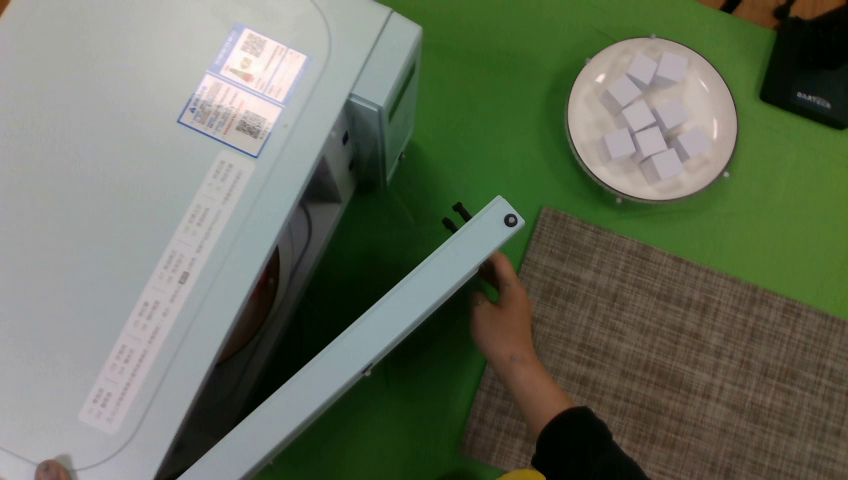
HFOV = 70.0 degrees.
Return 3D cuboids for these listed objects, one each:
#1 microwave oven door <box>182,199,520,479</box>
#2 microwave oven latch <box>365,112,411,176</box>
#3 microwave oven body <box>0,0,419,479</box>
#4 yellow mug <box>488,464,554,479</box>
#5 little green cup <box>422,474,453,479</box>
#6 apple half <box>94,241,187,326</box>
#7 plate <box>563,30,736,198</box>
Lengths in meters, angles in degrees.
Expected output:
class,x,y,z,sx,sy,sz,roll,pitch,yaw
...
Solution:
class,x,y,z,sx,sy,sz,roll,pitch,yaw
microwave oven door,-0.071,0.107,0.551,0.355,0.244,0.039,-41,84,-8
microwave oven latch,-0.041,-0.115,0.690,0.030,0.029,0.079,26,81,0
microwave oven body,-0.244,-0.032,0.567,0.326,0.260,0.440,24,81,0
yellow mug,0.100,0.308,0.637,0.100,0.064,0.130,33,84,2
little green cup,0.015,0.282,0.650,0.061,0.039,0.061,0,80,-2
apple half,-0.279,0.045,0.586,0.081,0.053,0.074,36,93,-10
plate,0.268,-0.149,0.733,0.208,0.039,0.207,1,81,-3
